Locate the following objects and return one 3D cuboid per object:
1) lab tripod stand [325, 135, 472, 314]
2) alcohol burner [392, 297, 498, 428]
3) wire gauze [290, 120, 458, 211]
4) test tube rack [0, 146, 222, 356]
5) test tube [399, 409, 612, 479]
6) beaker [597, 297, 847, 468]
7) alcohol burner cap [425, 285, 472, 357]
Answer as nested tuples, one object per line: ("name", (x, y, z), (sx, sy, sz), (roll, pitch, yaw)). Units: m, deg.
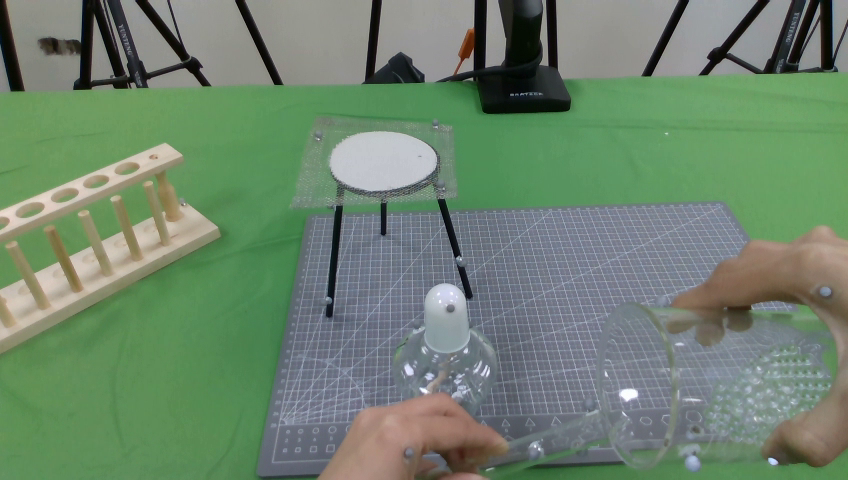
("lab tripod stand", (-0.026, -0.013, 0.525), (0.148, 0.132, 0.147), (1, 39, 0))
("alcohol burner", (0.015, 0.079, 0.429), (0.078, 0.120, 0.077), (0, 42, 0))
("wire gauze", (-0.035, -0.063, 0.480), (0.121, 0.011, 0.124), (1, 40, 0))
("test tube rack", (-0.314, 0.008, 0.545), (0.066, 0.086, 0.242), (31, 49, 33))
("test tube", (0.032, 0.125, 0.335), (0.150, 0.017, 0.017), (-29, 33, 24))
("beaker", (0.142, 0.069, 0.285), (0.100, 0.084, 0.073), (2, 47, -7))
("alcohol burner cap", (0.016, 0.051, 0.406), (0.034, 0.048, 0.033), (-2, 39, 2))
